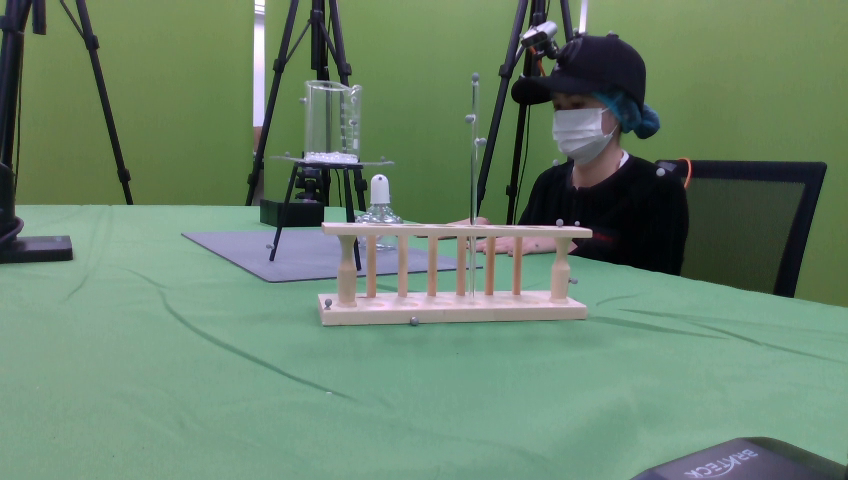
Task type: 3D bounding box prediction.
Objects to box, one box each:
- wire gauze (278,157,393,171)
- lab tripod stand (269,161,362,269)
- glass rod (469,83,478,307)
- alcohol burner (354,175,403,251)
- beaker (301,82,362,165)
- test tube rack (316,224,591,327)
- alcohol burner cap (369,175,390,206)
[{"bbox_3d":[-0.122,-0.100,0.786,0.122,0.011,0.124,-5,14,-38],"label":"wire gauze"},{"bbox_3d":[-0.125,-0.036,0.794,0.148,0.131,0.148,5,7,0],"label":"lab tripod stand"},{"bbox_3d":[0.043,-0.033,0.523,0.008,0.199,0.008,-1,14,1],"label":"glass rod"},{"bbox_3d":[-0.072,-0.042,0.944,0.078,0.119,0.078,1,9,0],"label":"alcohol burner"},{"bbox_3d":[-0.117,-0.147,0.776,0.074,0.100,0.083,-3,10,-38],"label":"beaker"},{"bbox_3d":[0.026,0.028,0.555,0.243,0.085,0.066,1,7,-14],"label":"test tube rack"},{"bbox_3d":[-0.069,-0.077,0.939,0.034,0.048,0.034,-1,6,0],"label":"alcohol burner cap"}]
